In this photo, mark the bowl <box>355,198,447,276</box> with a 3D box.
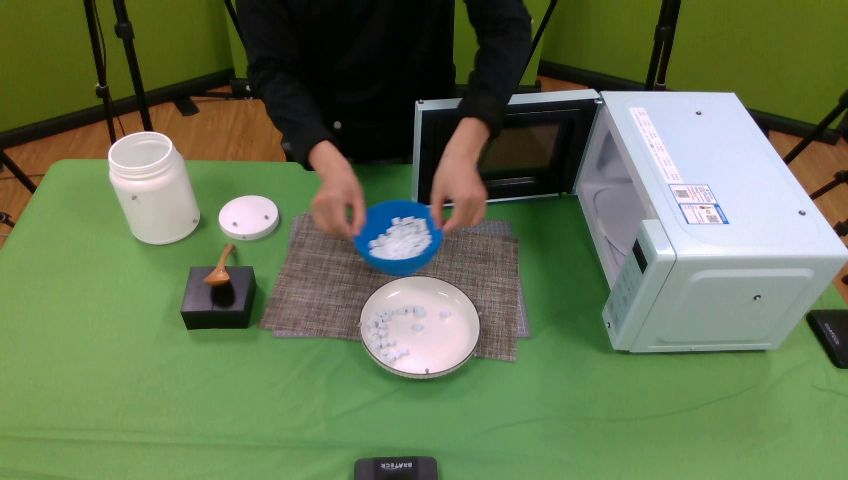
[{"bbox_3d":[-0.037,0.007,1.016,0.151,0.077,0.150,-1,43,1],"label":"bowl"}]

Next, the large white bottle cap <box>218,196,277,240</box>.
[{"bbox_3d":[-0.354,-0.045,1.220,0.115,0.018,0.114,1,46,-1],"label":"large white bottle cap"}]

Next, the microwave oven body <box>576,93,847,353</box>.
[{"bbox_3d":[0.475,-0.041,1.109,0.326,0.261,0.438,-1,45,-4],"label":"microwave oven body"}]

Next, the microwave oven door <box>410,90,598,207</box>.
[{"bbox_3d":[0.152,-0.178,1.210,0.356,0.245,0.039,-6,46,-10],"label":"microwave oven door"}]

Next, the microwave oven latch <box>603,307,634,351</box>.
[{"bbox_3d":[0.332,0.153,1.044,0.030,0.029,0.078,0,45,-3],"label":"microwave oven latch"}]

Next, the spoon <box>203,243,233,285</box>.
[{"bbox_3d":[-0.360,0.039,1.087,0.041,0.022,0.192,-5,24,-6],"label":"spoon"}]

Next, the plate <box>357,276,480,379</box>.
[{"bbox_3d":[-0.009,0.151,1.038,0.209,0.038,0.208,2,47,-2],"label":"plate"}]

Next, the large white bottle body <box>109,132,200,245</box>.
[{"bbox_3d":[-0.506,-0.097,1.141,0.131,0.185,0.130,2,46,-2],"label":"large white bottle body"}]
